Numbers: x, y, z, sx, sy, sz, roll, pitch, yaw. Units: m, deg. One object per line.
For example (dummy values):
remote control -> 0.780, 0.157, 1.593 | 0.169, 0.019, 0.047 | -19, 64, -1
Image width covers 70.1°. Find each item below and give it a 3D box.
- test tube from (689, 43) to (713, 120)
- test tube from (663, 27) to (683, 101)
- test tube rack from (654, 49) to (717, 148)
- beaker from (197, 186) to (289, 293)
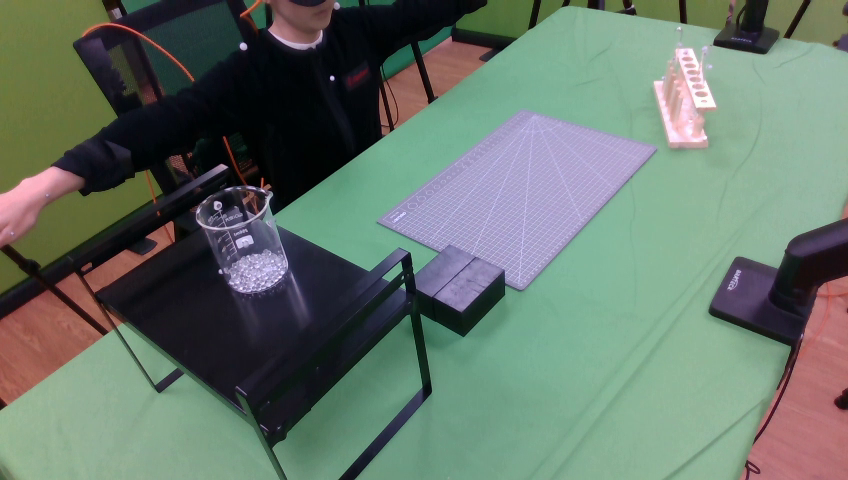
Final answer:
test tube -> 0.506, -0.286, 1.106 | 0.017, 0.151, 0.017 | -4, 43, 4
test tube -> 0.486, -0.342, 1.181 | 0.017, 0.151, 0.017 | -4, 42, 4
test tube rack -> 0.502, -0.281, 1.176 | 0.066, 0.085, 0.241 | 2, 41, 11
beaker -> -0.192, 0.001, 0.666 | 0.084, 0.101, 0.073 | -33, 47, -27
